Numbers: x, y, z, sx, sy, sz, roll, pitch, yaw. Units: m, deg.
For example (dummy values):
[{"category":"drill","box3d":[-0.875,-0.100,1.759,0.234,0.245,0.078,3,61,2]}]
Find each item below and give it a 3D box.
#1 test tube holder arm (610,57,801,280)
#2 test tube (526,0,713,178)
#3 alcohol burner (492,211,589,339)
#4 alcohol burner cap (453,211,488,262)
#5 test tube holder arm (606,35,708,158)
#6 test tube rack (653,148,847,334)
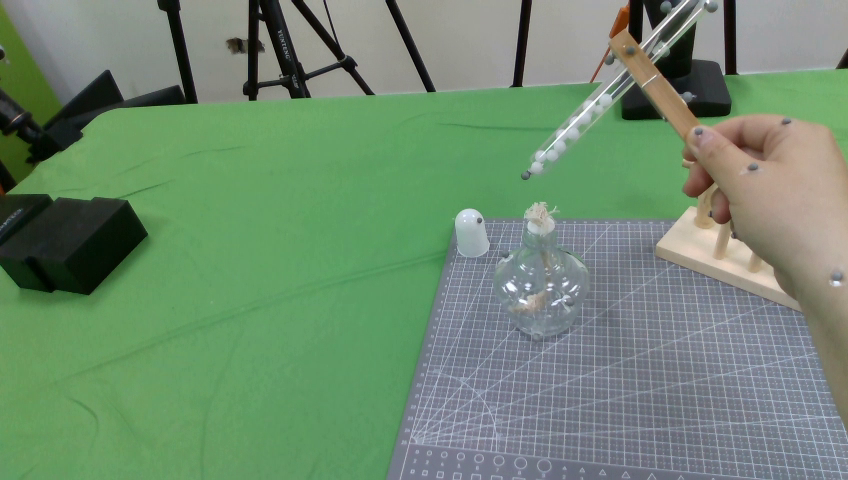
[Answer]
[{"category":"test tube holder arm","box3d":[0.171,-0.053,0.376,0.177,0.015,0.013,58,26,11]},{"category":"test tube","box3d":[0.122,-0.096,0.392,0.150,0.017,0.017,-46,36,20]},{"category":"alcohol burner","box3d":[0.091,0.023,0.478,0.078,0.120,0.077,-6,42,6]},{"category":"alcohol burner cap","box3d":[0.044,-0.006,0.580,0.034,0.048,0.033,-6,41,6]},{"category":"test tube holder arm","box3d":[0.145,-0.089,0.378,0.015,0.087,0.010,-38,-5,25]},{"category":"test tube rack","box3d":[0.308,0.009,0.462,0.240,0.086,0.066,26,53,36]}]
